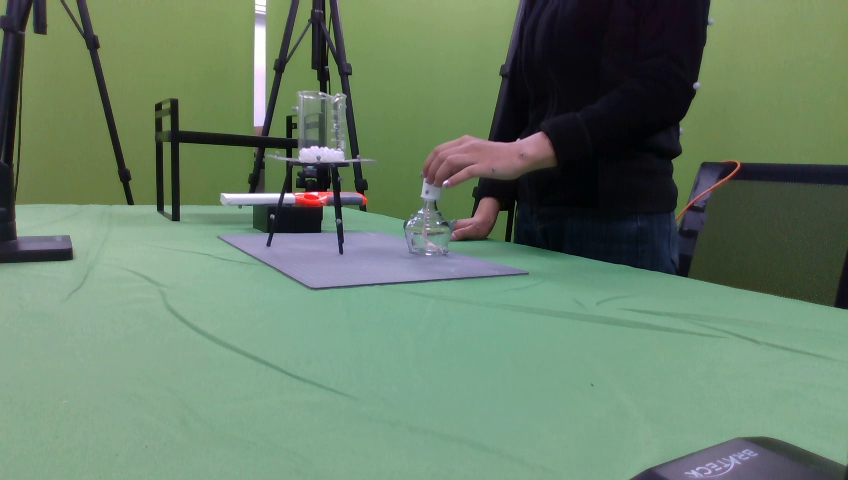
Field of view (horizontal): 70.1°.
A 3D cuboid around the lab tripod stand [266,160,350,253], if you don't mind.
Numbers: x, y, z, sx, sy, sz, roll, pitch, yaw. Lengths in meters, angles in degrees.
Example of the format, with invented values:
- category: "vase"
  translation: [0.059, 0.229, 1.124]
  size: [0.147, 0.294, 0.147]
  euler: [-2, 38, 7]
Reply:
- category: "lab tripod stand"
  translation: [-0.163, -0.054, 0.915]
  size: [0.148, 0.131, 0.148]
  euler: [2, 9, 0]

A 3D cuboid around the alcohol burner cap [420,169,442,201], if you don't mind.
- category: "alcohol burner cap"
  translation: [0.012, -0.083, 0.905]
  size: [0.034, 0.048, 0.034]
  euler: [5, 10, -1]

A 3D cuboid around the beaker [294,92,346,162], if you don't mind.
- category: "beaker"
  translation: [-0.152, -0.165, 0.896]
  size: [0.074, 0.100, 0.083]
  euler: [-4, 10, -33]

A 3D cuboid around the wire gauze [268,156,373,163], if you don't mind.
- category: "wire gauze"
  translation: [-0.154, -0.119, 0.910]
  size: [0.122, 0.011, 0.124]
  euler: [-4, 8, -45]

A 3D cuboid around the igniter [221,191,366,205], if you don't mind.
- category: "igniter"
  translation: [-0.240, -0.079, 1.150]
  size: [0.278, 0.025, 0.057]
  euler: [-3, 20, -32]

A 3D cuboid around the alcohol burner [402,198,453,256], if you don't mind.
- category: "alcohol burner"
  translation: [0.007, -0.036, 0.915]
  size: [0.078, 0.119, 0.078]
  euler: [4, 6, 0]
